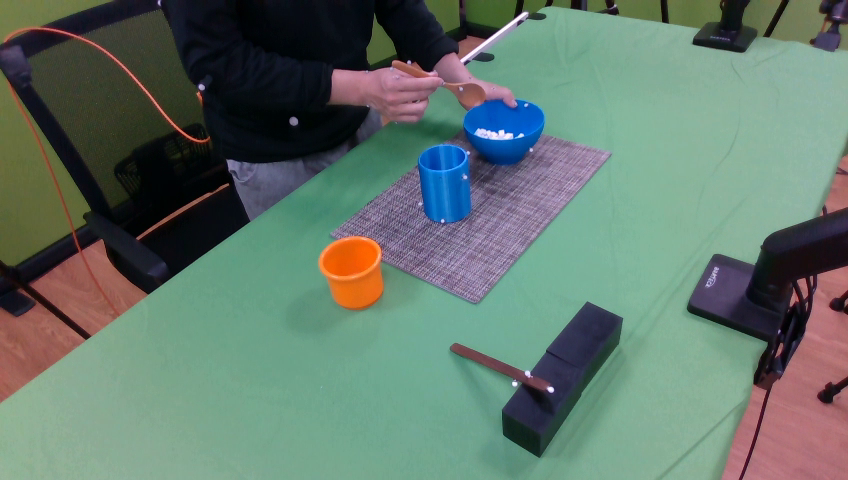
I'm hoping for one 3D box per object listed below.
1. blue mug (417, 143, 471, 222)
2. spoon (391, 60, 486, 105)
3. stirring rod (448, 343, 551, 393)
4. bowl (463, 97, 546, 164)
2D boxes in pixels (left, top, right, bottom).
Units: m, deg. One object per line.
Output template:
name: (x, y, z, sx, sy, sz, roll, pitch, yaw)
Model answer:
blue mug: (0.031, -0.104, 1.014, 0.082, 0.106, 0.115, -14, 41, -7)
spoon: (0.027, -0.257, 0.978, 0.195, 0.041, 0.021, 8, 42, -42)
stirring rod: (0.087, 0.154, 0.741, 0.014, 0.006, 0.174, -39, 28, -25)
bowl: (0.149, -0.195, 1.123, 0.151, 0.077, 0.150, -4, 41, 4)
